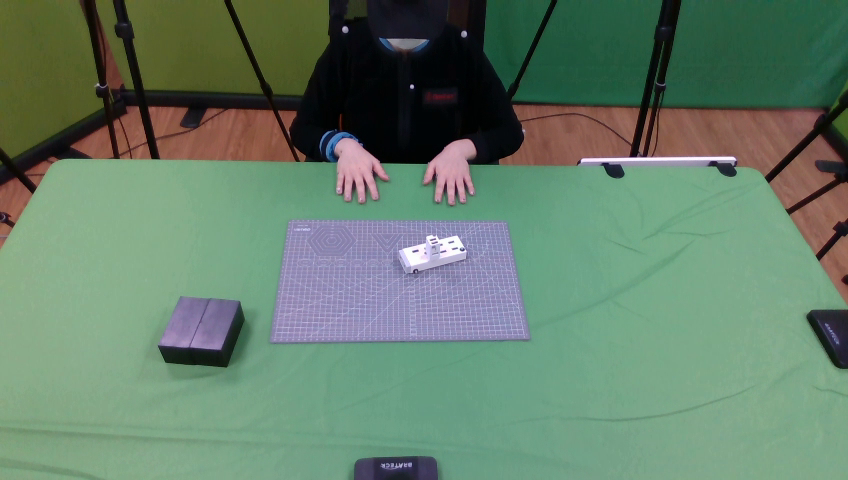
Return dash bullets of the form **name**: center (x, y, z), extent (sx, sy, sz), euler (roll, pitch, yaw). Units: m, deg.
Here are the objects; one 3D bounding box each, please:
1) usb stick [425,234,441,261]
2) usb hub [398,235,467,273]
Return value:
- **usb stick**: center (0.016, 0.019, 1.133), extent (0.021, 0.059, 0.027), euler (-16, 52, -15)
- **usb hub**: center (0.016, 0.027, 1.166), extent (0.125, 0.025, 0.049), euler (-14, 50, -16)
